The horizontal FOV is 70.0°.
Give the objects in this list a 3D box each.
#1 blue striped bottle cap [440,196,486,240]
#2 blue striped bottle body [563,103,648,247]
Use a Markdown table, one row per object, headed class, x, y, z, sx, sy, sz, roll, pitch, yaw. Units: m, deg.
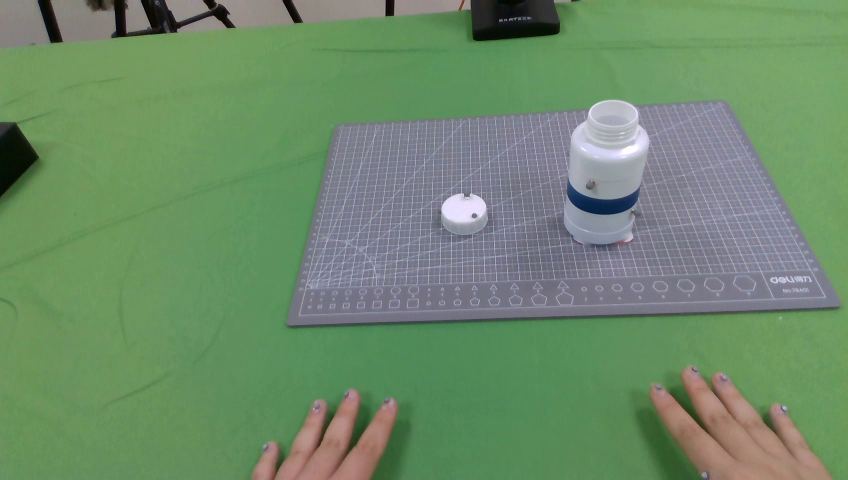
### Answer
| class | x | y | z | sx | sy | sz | roll | pitch | yaw |
| --- | --- | --- | --- | --- | --- | --- | --- | --- | --- |
| blue striped bottle cap | 0.037 | -0.022 | 0.580 | 0.044 | 0.021 | 0.044 | -3 | 43 | 3 |
| blue striped bottle body | 0.156 | -0.056 | 0.523 | 0.063 | 0.122 | 0.062 | -4 | 45 | 4 |
